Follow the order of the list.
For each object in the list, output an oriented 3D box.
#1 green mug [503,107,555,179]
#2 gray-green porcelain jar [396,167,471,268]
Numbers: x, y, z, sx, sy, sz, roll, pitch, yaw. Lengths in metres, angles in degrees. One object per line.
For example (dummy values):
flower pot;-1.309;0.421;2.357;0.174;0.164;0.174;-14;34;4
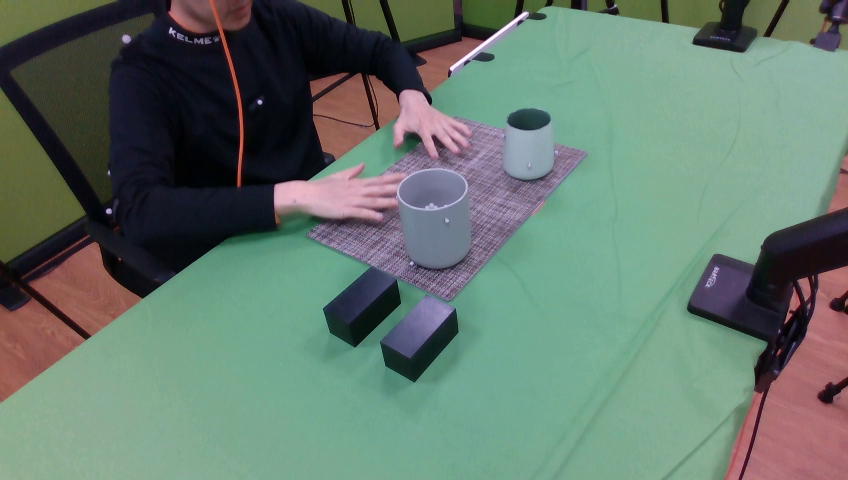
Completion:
green mug;0.181;-0.180;1.083;0.093;0.105;0.124;-13;41;-6
gray-green porcelain jar;0.017;-0.029;0.913;0.106;0.127;0.105;-4;41;4
